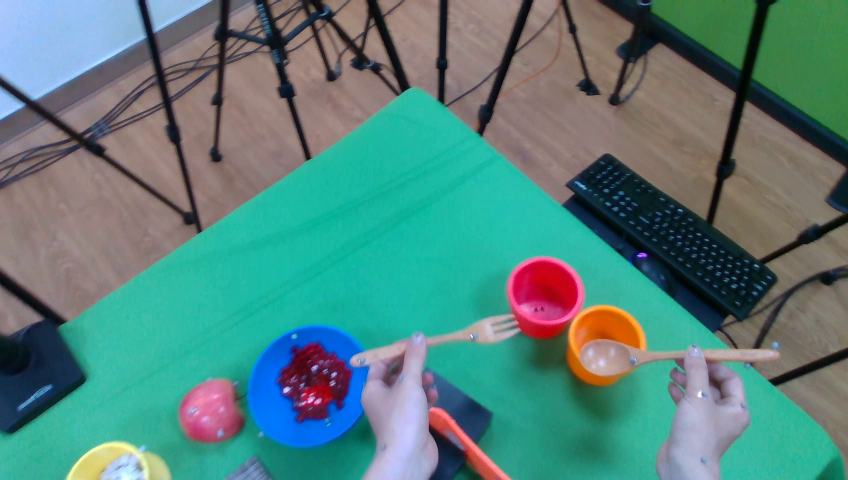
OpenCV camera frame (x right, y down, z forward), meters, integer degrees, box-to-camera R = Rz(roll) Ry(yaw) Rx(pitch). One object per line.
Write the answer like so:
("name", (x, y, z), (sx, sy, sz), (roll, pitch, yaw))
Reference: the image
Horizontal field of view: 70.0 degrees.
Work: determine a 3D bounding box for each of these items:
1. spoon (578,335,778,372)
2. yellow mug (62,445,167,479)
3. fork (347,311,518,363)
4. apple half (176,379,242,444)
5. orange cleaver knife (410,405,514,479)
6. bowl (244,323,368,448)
("spoon", (0.257, 0.117, 0.629), (0.193, 0.022, 0.041), (-8, 55, 33))
("yellow mug", (-0.375, 0.313, 0.714), (0.099, 0.064, 0.130), (23, 66, 15))
("fork", (0.015, 0.103, 0.642), (0.208, 0.018, 0.028), (-6, 69, -33))
("apple half", (-0.278, 0.215, 0.770), (0.075, 0.054, 0.080), (-18, 62, -4))
("orange cleaver knife", (0.068, 0.263, 0.709), (0.211, 0.077, 0.012), (43, 62, -1))
("bowl", (-0.140, 0.190, 0.761), (0.151, 0.077, 0.150), (-1, 62, 3))
